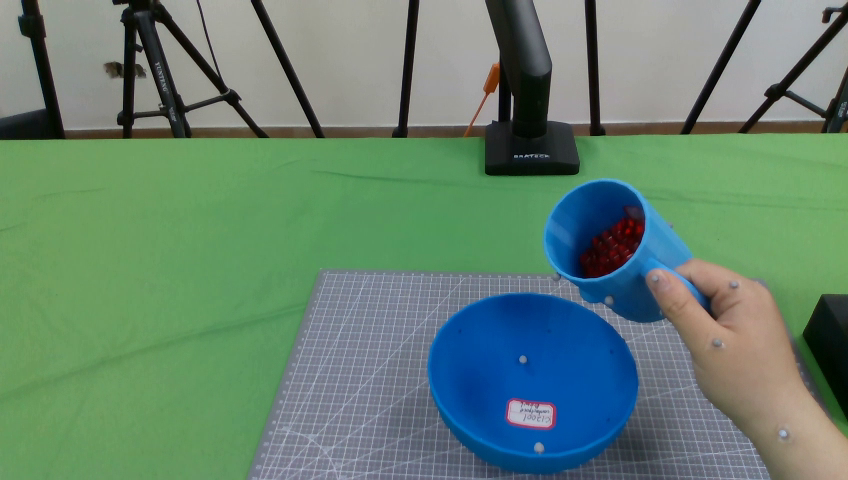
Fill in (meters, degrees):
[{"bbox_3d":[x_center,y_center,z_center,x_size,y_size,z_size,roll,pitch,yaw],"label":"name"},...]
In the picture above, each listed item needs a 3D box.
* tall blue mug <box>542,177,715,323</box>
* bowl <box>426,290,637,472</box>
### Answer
[{"bbox_3d":[0.158,0.012,0.440,0.106,0.109,0.077,5,73,41],"label":"tall blue mug"},{"bbox_3d":[0.078,0.118,0.460,0.151,0.077,0.150,-2,39,2],"label":"bowl"}]
